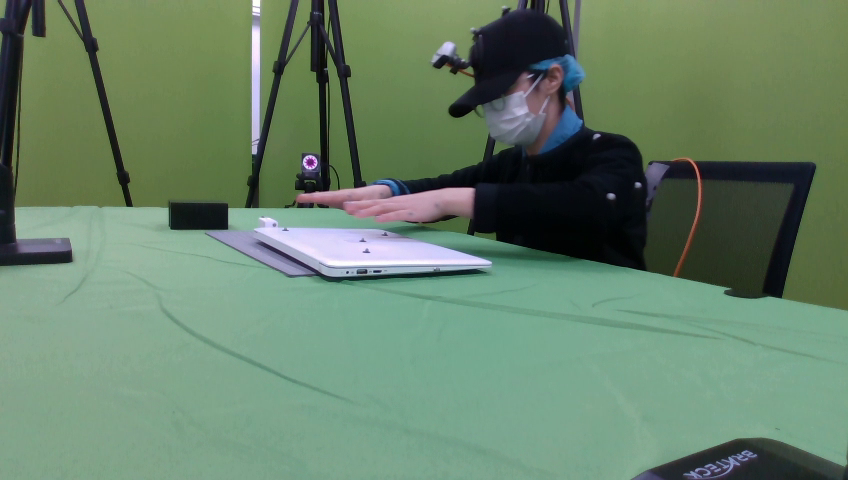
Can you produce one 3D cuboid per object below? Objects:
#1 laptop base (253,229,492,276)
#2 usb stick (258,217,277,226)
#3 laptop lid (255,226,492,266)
[{"bbox_3d":[-0.094,0.015,0.889,0.237,0.023,0.352,2,7,-30],"label":"laptop base"},{"bbox_3d":[-0.261,-0.022,1.016,0.021,0.027,0.059,0,13,-30],"label":"usb stick"},{"bbox_3d":[-0.092,0.004,0.888,0.243,0.013,0.355,1,8,-28],"label":"laptop lid"}]
